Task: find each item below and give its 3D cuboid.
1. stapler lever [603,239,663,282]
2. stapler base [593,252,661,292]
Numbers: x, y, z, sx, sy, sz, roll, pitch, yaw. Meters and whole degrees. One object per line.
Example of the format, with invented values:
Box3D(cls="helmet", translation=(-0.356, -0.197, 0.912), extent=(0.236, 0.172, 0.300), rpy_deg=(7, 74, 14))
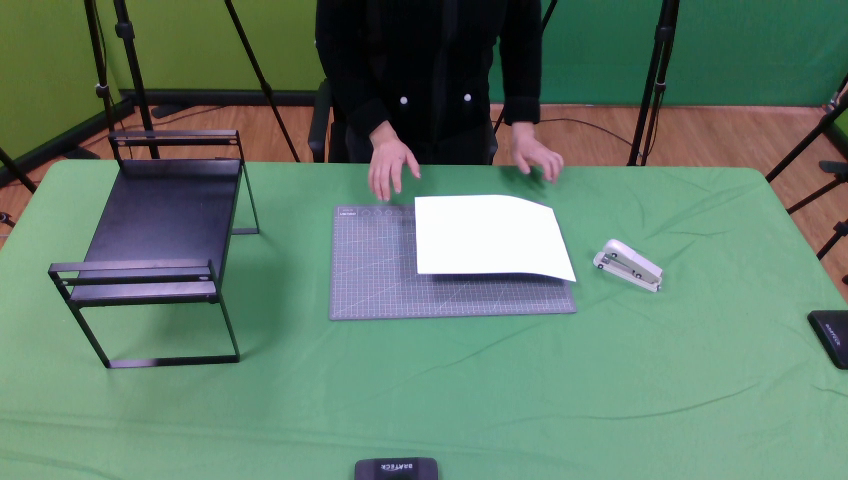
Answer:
Box3D(cls="stapler lever", translation=(0.398, 0.037, 1.155), extent=(0.117, 0.040, 0.027), rpy_deg=(27, 53, 18))
Box3D(cls="stapler base", translation=(0.395, 0.054, 1.174), extent=(0.130, 0.024, 0.041), rpy_deg=(27, 53, 18))
